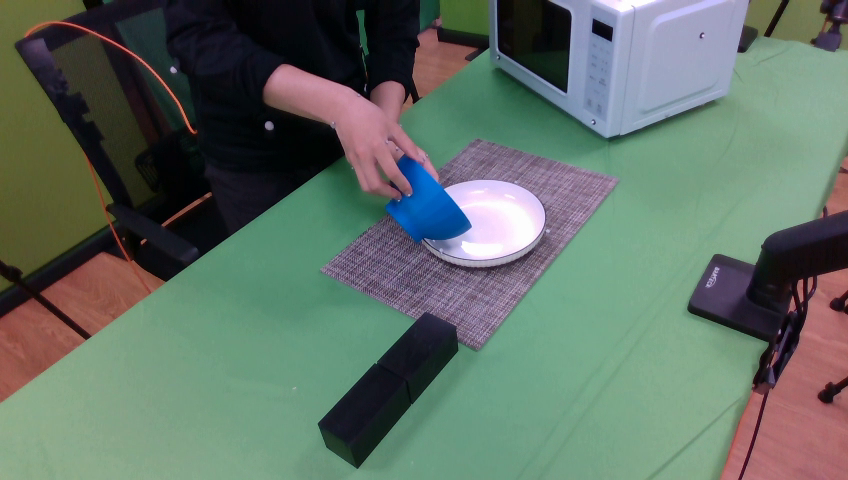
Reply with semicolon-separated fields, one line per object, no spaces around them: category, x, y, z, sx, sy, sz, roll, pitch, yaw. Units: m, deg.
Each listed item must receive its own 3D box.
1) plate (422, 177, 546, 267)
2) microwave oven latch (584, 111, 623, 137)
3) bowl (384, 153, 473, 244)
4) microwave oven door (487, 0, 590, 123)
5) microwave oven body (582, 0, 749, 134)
plate;0.090;-0.026;0.970;0.207;0.039;0.206;-4;41;4
microwave oven latch;0.337;-0.222;1.142;0.030;0.029;0.078;-21;42;-14
bowl;-0.006;-0.048;0.895;0.077;0.152;0.150;-43;47;-2
microwave oven door;0.232;-0.420;1.231;0.039;0.245;0.352;-22;43;-16
microwave oven body;0.382;-0.445;1.246;0.327;0.261;0.437;-22;42;-16
